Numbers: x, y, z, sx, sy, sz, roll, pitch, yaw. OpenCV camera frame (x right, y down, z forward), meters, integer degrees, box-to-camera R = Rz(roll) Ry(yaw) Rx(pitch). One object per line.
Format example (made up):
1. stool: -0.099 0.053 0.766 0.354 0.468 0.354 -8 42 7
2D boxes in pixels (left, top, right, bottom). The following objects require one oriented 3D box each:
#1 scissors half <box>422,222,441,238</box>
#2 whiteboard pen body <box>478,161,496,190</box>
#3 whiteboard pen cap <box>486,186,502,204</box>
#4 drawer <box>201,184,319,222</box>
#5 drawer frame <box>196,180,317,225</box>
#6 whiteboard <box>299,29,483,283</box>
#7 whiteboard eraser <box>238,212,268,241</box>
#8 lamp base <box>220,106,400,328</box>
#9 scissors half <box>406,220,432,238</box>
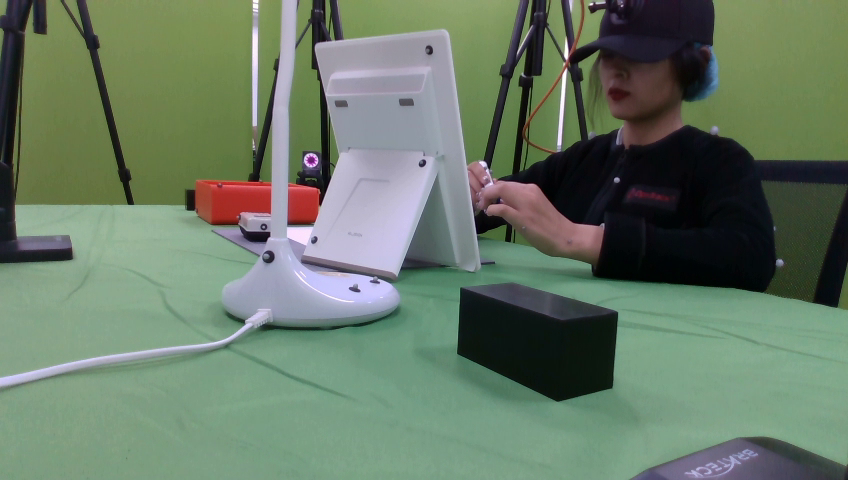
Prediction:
1. scissors half: 0.013 -0.018 1.217 0.040 0.013 0.175 14 9 1
2. whiteboard pen body: 0.096 -0.091 0.912 0.017 0.017 0.140 2 26 -3
3. whiteboard pen cap: 0.099 -0.065 0.855 0.018 0.018 0.033 1 25 -9
4. drawer: -0.353 -0.082 1.295 0.213 0.073 0.193 -2 9 -28
5. drawer frame: -0.359 -0.083 1.292 0.215 0.082 0.200 -2 10 -30
6. whiteboard: -0.074 -0.082 0.742 0.216 0.305 0.144 9 29 38
7. whiteboard eraser: -0.272 -0.023 0.998 0.056 0.042 0.112 -2 9 -24
8. lamp base: -0.101 -0.023 0.531 0.160 0.180 0.179 4 10 10
9. scissors half: -0.006 -0.021 1.214 0.040 0.013 0.174 6 10 -15
